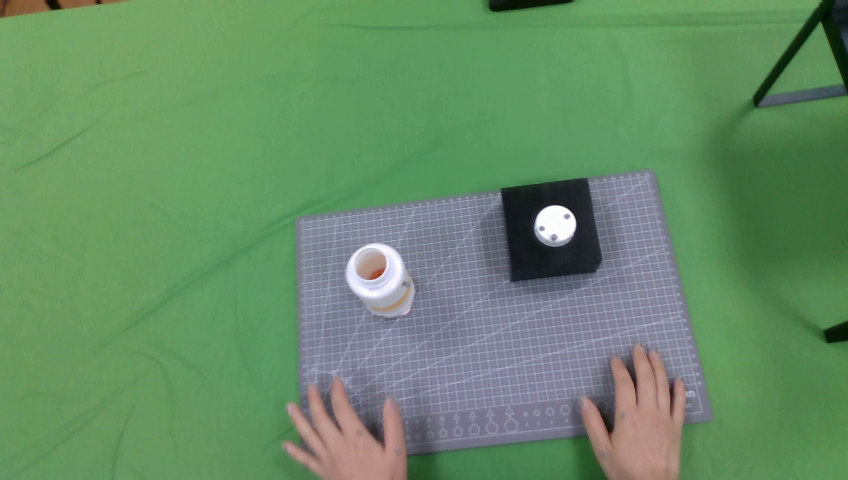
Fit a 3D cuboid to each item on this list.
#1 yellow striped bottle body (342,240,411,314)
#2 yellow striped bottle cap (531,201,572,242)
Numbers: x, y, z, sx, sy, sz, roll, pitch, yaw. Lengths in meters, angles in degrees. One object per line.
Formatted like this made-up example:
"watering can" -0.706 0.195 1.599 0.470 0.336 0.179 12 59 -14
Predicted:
"yellow striped bottle body" -0.052 0.040 0.669 0.063 0.121 0.062 -2 72 5
"yellow striped bottle cap" 0.142 -0.020 0.671 0.044 0.019 0.044 -1 75 4
